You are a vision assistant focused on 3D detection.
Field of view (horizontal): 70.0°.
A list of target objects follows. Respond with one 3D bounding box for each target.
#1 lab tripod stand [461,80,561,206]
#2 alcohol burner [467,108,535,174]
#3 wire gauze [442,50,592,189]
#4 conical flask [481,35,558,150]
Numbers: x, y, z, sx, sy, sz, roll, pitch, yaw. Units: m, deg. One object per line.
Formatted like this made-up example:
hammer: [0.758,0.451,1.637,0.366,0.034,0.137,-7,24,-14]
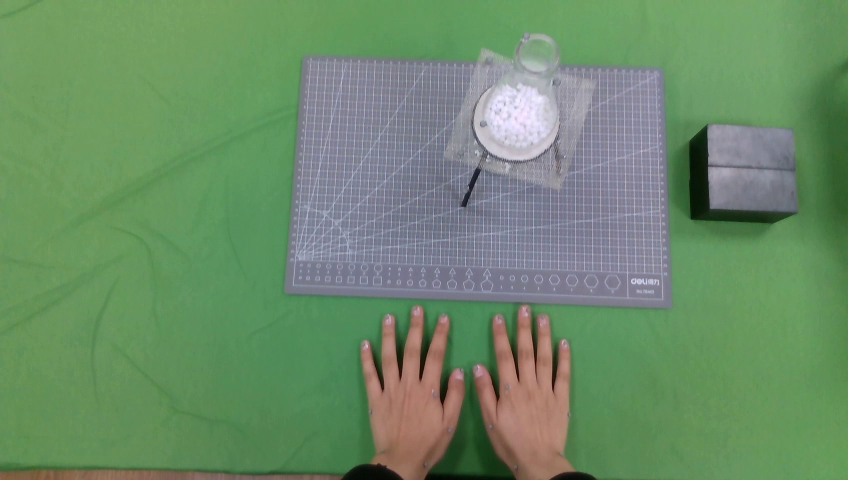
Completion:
lab tripod stand: [0.089,-0.110,0.670,0.148,0.132,0.147,0,78,2]
alcohol burner: [0.088,-0.118,0.682,0.078,0.119,0.077,0,79,2]
wire gauze: [0.094,-0.121,0.605,0.121,0.011,0.124,19,77,3]
conical flask: [0.092,-0.136,0.549,0.075,0.122,0.075,0,78,1]
